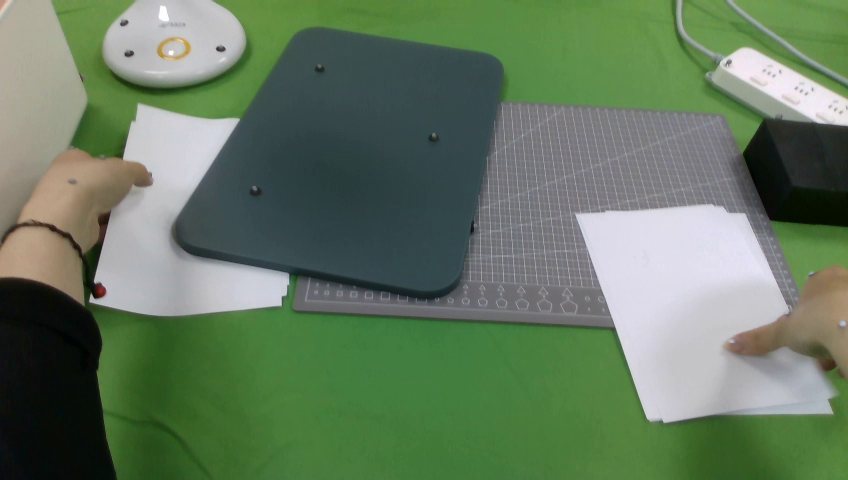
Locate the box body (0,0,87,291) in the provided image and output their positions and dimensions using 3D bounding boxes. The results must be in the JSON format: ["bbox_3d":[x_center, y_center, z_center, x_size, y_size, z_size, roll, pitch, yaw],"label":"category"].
[{"bbox_3d":[-0.461,-0.073,0.478,0.254,0.162,0.360,0,52,-5],"label":"box body"}]

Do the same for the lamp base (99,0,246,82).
[{"bbox_3d":[-0.293,-0.294,0.655,0.161,0.182,0.177,-17,52,-17],"label":"lamp base"}]

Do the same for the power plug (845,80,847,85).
[{"bbox_3d":[0.535,-0.171,0.728,0.053,0.035,0.072,-23,23,-27],"label":"power plug"}]

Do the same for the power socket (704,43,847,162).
[{"bbox_3d":[0.439,-0.159,0.701,0.072,0.033,0.224,-32,60,-27],"label":"power socket"}]

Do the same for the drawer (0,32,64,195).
[{"bbox_3d":[-0.446,-0.116,0.510,0.195,0.074,0.209,9,41,-15],"label":"drawer"}]

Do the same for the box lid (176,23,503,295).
[{"bbox_3d":[-0.066,-0.109,0.634,0.263,0.015,0.368,11,51,5],"label":"box lid"}]

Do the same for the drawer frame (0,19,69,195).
[{"bbox_3d":[-0.447,-0.118,0.511,0.202,0.083,0.211,8,41,-15],"label":"drawer frame"}]
